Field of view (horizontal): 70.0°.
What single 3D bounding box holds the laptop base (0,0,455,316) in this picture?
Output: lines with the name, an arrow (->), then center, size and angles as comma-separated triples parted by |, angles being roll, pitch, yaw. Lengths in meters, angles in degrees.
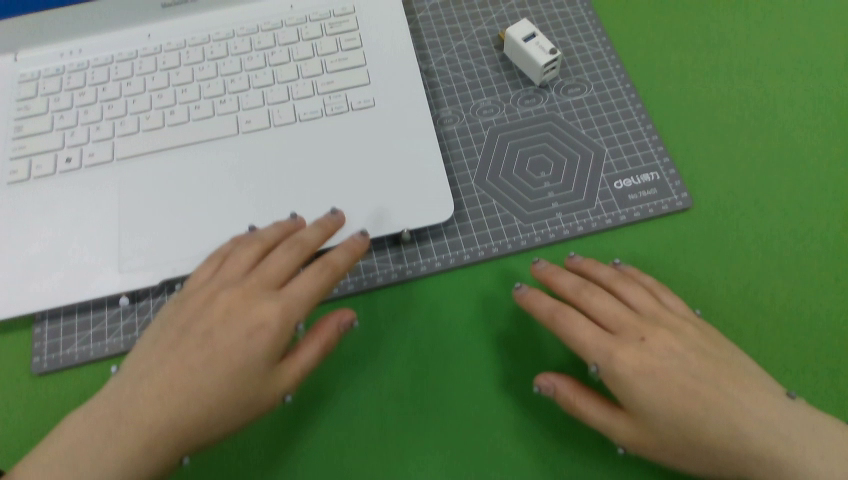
laptop base -> -0.172, -0.079, 0.456 | 0.354, 0.023, 0.233 | -12, 67, -2

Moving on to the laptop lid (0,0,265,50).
laptop lid -> -0.212, -0.272, 0.434 | 0.357, 0.244, 0.013 | -13, 38, -1

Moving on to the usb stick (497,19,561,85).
usb stick -> 0.079, -0.149, 0.467 | 0.021, 0.027, 0.058 | -33, 64, -11
